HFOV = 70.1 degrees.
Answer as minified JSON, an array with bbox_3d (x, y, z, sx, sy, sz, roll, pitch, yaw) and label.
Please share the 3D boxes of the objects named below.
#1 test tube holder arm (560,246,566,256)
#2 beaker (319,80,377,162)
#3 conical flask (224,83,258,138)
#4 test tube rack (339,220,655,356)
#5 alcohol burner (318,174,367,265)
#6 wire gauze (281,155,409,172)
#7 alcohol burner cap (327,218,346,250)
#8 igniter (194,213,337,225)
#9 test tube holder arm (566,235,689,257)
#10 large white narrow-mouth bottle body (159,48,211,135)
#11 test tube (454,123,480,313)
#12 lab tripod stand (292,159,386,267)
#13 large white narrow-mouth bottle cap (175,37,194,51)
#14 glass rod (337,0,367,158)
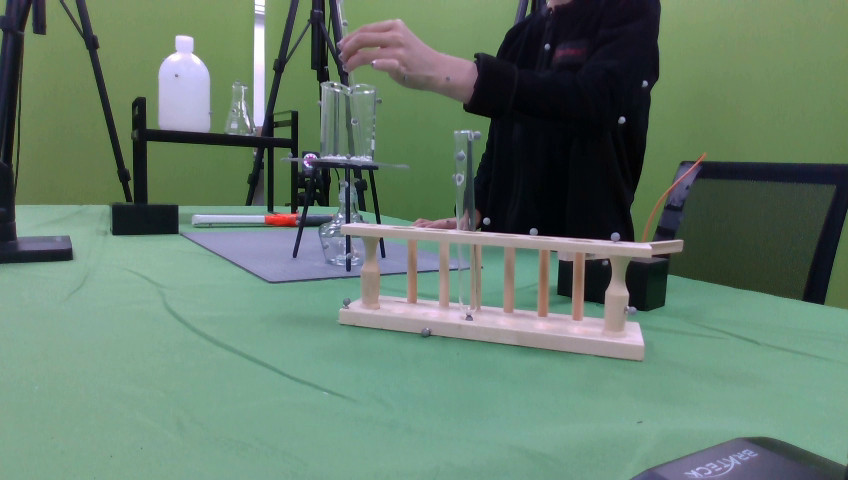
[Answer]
[{"bbox_3d":[0.173,0.007,0.611,0.088,0.015,0.010,-3,11,-29],"label":"test tube holder arm"},{"bbox_3d":[-0.098,-0.150,0.777,0.074,0.100,0.084,1,7,-8],"label":"beaker"},{"bbox_3d":[-0.422,-0.299,1.395,0.075,0.122,0.075,2,7,0],"label":"conical flask"},{"bbox_3d":[0.056,0.032,0.495,0.242,0.085,0.067,4,7,15],"label":"test tube rack"},{"bbox_3d":[-0.100,-0.028,0.790,0.078,0.119,0.078,0,6,0],"label":"alcohol burner"},{"bbox_3d":[-0.104,-0.103,0.785,0.126,0.011,0.121,1,8,-39],"label":"wire gauze"},{"bbox_3d":[-0.132,-0.010,0.927,0.034,0.048,0.034,3,8,0],"label":"alcohol burner cap"},{"bbox_3d":[-0.306,-0.042,1.196,0.278,0.025,0.057,-2,-2,-31],"label":"igniter"},{"bbox_3d":[0.216,0.006,0.629,0.179,0.015,0.013,-3,11,-30],"label":"test tube holder arm"},{"bbox_3d":[-0.503,-0.322,1.275,0.102,0.194,0.102,2,7,0],"label":"large white narrow-mouth bottle body"},{"bbox_3d":[0.034,-0.016,0.476,0.017,0.150,0.017,-2,9,1],"label":"test tube"},{"bbox_3d":[-0.105,-0.039,0.797,0.148,0.131,0.148,2,5,0],"label":"lab tripod stand"},{"bbox_3d":[-0.501,-0.409,1.264,0.038,0.024,0.037,2,7,0],"label":"large white narrow-mouth bottle cap"},{"bbox_3d":[-0.090,-0.203,0.763,0.008,0.199,0.008,-8,10,2],"label":"glass rod"}]
